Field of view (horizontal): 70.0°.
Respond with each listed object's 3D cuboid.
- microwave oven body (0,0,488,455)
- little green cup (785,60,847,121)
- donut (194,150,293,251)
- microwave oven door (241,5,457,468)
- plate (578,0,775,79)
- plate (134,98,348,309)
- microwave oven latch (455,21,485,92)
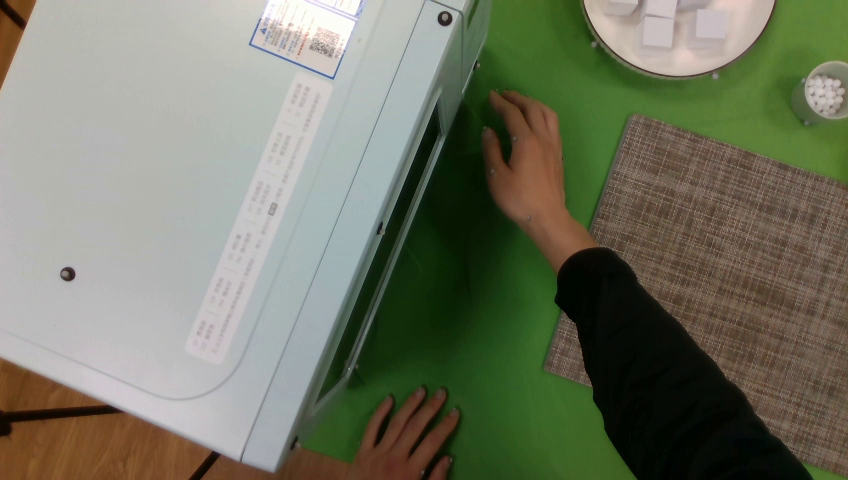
[{"bbox_3d":[-0.170,-0.095,0.557,0.326,0.260,0.441,22,91,2],"label":"microwave oven body"},{"bbox_3d":[0.422,-0.157,0.647,0.061,0.038,0.061,0,89,3],"label":"little green cup"},{"bbox_3d":[-0.177,-0.038,0.595,0.099,0.048,0.099,0,90,3],"label":"donut"},{"bbox_3d":[-0.052,-0.001,0.546,0.039,0.244,0.355,22,90,3],"label":"microwave oven door"},{"bbox_3d":[0.268,-0.274,0.655,0.207,0.039,0.207,0,89,2],"label":"plate"},{"bbox_3d":[-0.179,-0.035,0.607,0.209,0.038,0.209,0,91,1],"label":"plate"},{"bbox_3d":[0.039,-0.201,0.645,0.030,0.029,0.079,24,91,2],"label":"microwave oven latch"}]
